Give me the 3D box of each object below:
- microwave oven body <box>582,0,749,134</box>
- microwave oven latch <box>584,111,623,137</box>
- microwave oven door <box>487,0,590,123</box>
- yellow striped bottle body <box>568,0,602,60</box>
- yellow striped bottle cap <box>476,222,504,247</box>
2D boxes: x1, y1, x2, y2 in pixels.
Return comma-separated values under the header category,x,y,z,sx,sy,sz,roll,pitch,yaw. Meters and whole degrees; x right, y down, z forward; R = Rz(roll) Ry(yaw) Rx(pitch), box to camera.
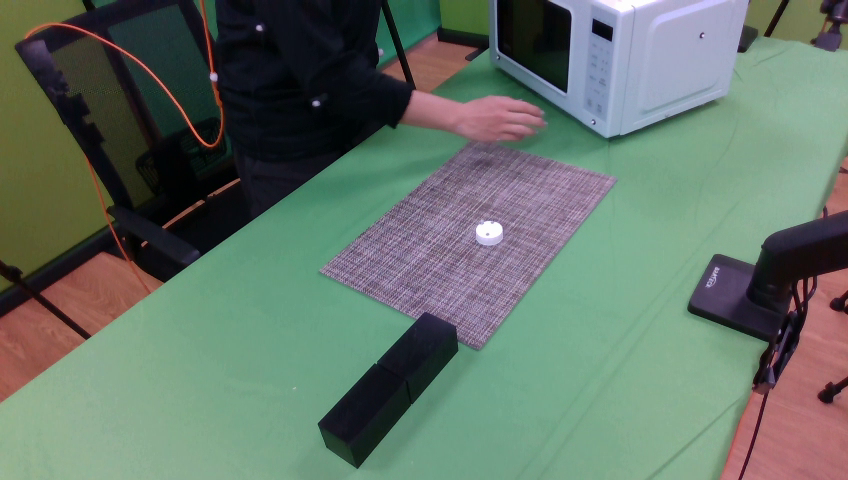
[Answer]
category,x,y,z,sx,sy,sz,roll,pitch,yaw
microwave oven body,0.382,-0.444,1.246,0.327,0.261,0.437,-22,42,-16
microwave oven latch,0.337,-0.222,1.142,0.030,0.029,0.078,-21,42,-14
microwave oven door,0.231,-0.420,1.230,0.039,0.245,0.352,-22,43,-16
yellow striped bottle body,0.338,-0.447,1.269,0.063,0.121,0.062,-4,43,4
yellow striped bottle cap,0.105,-0.010,0.966,0.044,0.019,0.044,-4,39,3
